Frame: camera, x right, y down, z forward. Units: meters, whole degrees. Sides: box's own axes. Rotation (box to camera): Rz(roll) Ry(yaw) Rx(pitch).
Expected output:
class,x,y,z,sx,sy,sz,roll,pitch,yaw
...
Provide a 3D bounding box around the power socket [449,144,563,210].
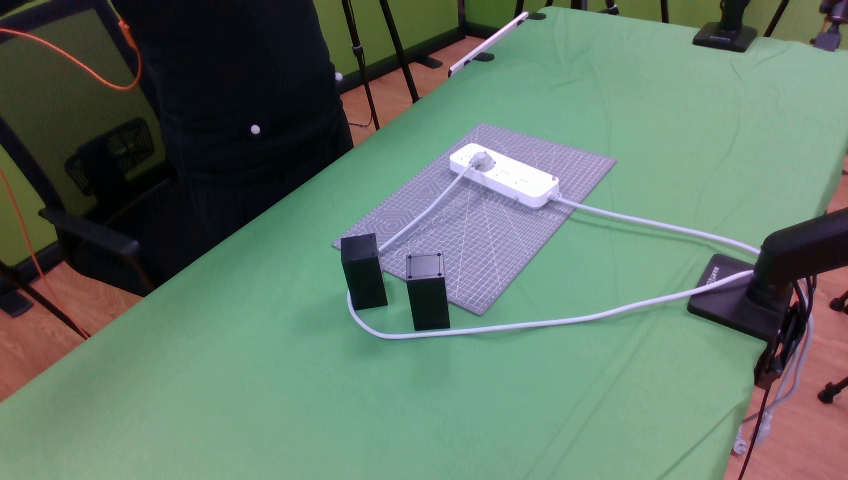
class,x,y,z,sx,sy,sz,roll,pitch,yaw
power socket,0.139,-0.115,1.072,0.225,0.033,0.072,30,53,35

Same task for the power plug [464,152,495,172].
class,x,y,z,sx,sy,sz,roll,pitch,yaw
power plug,0.093,-0.127,1.065,0.073,0.053,0.035,-29,44,-20
